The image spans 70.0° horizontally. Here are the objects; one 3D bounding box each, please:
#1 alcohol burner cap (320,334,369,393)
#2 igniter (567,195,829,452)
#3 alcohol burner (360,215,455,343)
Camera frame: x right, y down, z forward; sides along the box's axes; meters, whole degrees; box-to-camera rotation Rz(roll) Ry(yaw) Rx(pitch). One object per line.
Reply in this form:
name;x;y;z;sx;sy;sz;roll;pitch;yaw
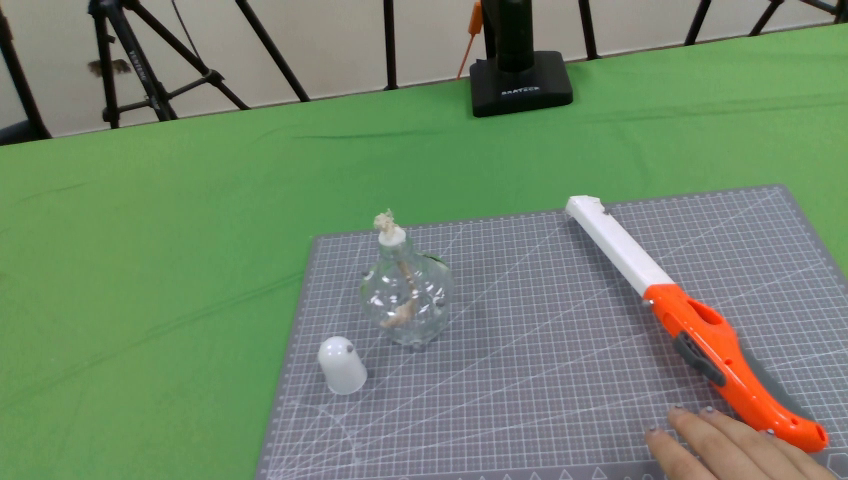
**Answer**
alcohol burner cap;-0.063;0.092;0.466;0.034;0.048;0.033;-6;43;6
igniter;0.188;0.045;0.462;0.057;0.025;0.273;-1;36;-21
alcohol burner;-0.015;0.026;0.472;0.078;0.120;0.077;-5;44;6
